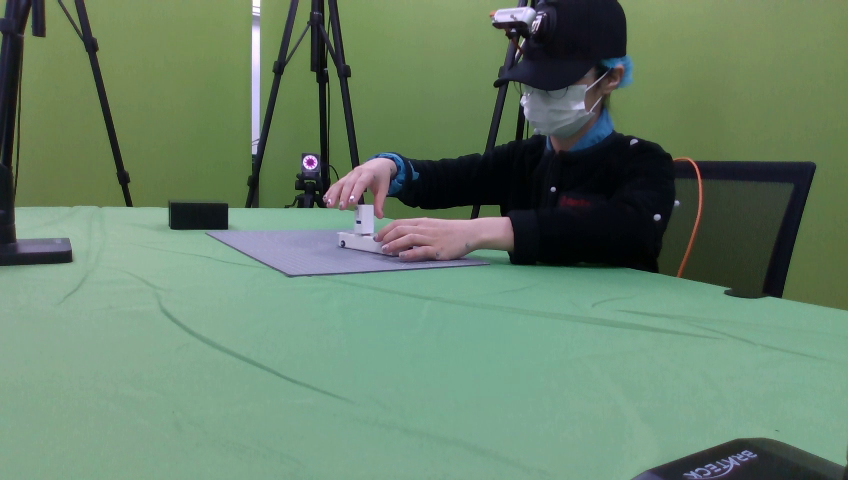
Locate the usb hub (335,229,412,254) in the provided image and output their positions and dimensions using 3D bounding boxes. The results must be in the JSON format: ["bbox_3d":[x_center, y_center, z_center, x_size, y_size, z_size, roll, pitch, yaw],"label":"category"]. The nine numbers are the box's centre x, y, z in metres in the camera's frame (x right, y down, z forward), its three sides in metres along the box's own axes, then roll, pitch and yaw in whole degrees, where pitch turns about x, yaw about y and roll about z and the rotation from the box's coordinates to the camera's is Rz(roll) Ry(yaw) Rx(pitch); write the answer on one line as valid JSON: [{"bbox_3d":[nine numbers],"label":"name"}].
[{"bbox_3d":[-0.080,0.001,0.946,0.124,0.025,0.050,8,10,39],"label":"usb hub"}]

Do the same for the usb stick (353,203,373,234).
[{"bbox_3d":[-0.094,-0.028,0.936,0.021,0.059,0.027,5,10,40],"label":"usb stick"}]
